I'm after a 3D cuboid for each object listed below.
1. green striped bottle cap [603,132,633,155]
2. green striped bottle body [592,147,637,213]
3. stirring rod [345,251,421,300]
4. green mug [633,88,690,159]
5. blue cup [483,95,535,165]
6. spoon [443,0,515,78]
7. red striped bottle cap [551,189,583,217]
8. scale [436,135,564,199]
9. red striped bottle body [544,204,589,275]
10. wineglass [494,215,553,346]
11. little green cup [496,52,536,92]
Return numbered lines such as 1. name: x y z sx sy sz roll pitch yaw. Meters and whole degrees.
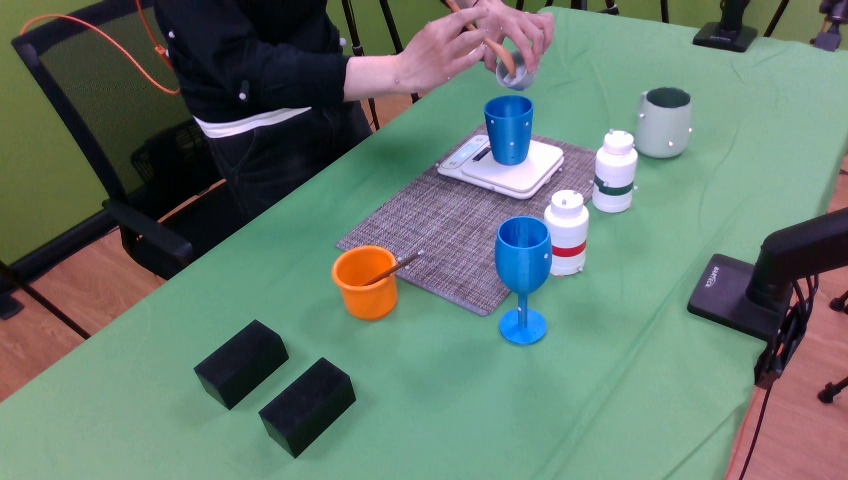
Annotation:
1. green striped bottle cap: 0.302 -0.149 0.939 0.044 0.020 0.044 -3 40 3
2. green striped bottle body: 0.307 -0.108 0.976 0.063 0.120 0.063 -4 41 4
3. stirring rod: -0.060 0.051 0.829 0.175 0.006 0.014 -32 18 44
4. green mug: 0.423 -0.217 1.099 0.093 0.105 0.124 -16 41 -9
5. blue cup: 0.148 -0.188 1.053 0.092 0.100 0.092 -5 39 5
6. spoon: 0.083 -0.322 0.939 0.021 0.195 0.041 -31 38 37
7. red striped bottle cap: 0.200 -0.052 0.843 0.044 0.018 0.044 -3 42 3
8. scale: 0.137 -0.142 1.101 0.199 0.032 0.149 22 48 30
9. red striped bottle body: 0.206 -0.011 0.877 0.063 0.120 0.062 -5 41 5
10. wineglass: 0.126 0.055 0.770 0.074 0.173 0.073 -4 40 4
11. little green cup: 0.155 -0.277 1.006 0.061 0.061 0.039 32 16 37
